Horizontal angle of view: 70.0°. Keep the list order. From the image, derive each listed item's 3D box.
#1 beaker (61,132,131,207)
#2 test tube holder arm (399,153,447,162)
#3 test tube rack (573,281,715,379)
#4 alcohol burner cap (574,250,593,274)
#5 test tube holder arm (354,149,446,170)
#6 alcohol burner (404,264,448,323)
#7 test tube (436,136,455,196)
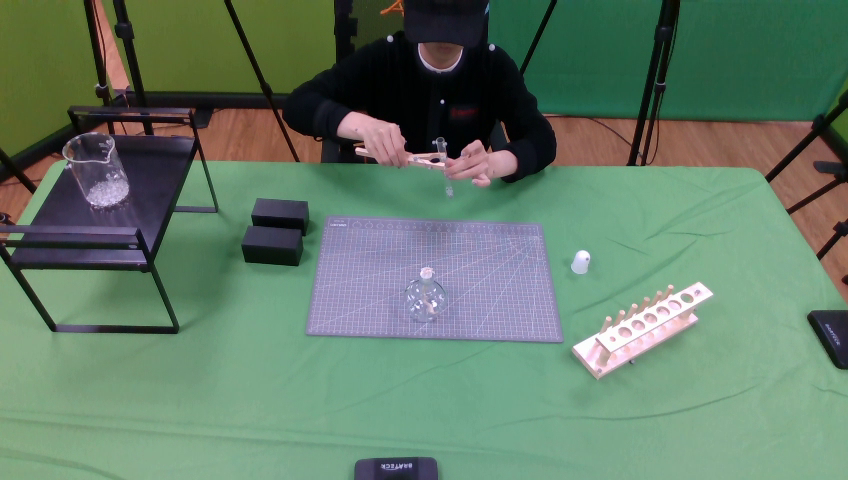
[{"bbox_3d":[-0.512,-0.107,0.959,0.083,0.101,0.074,29,51,22],"label":"beaker"},{"bbox_3d":[-0.002,-0.152,1.128,0.088,0.015,0.010,-3,51,2],"label":"test tube holder arm"},{"bbox_3d":[0.378,0.140,1.038,0.242,0.085,0.066,-22,51,-23],"label":"test tube rack"},{"bbox_3d":[0.308,0.039,1.163,0.034,0.048,0.033,1,46,-1],"label":"alcohol burner cap"},{"bbox_3d":[-0.046,-0.151,1.131,0.178,0.015,0.013,9,52,12],"label":"test tube holder arm"},{"bbox_3d":[0.003,0.087,1.042,0.078,0.120,0.077,1,45,0],"label":"alcohol burner"},{"bbox_3d":[0.041,-0.134,1.132,0.017,0.151,0.017,-6,52,8],"label":"test tube"}]
